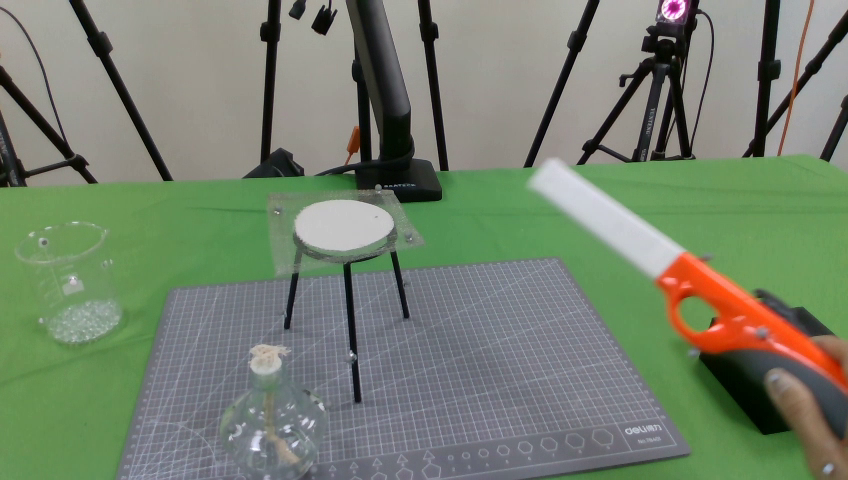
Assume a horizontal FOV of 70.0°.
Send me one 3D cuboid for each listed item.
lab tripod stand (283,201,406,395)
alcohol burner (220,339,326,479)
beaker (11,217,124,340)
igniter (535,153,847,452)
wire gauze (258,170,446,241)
[{"bbox_3d":[-0.070,0.044,0.554,0.148,0.132,0.147,3,33,-2],"label":"lab tripod stand"},{"bbox_3d":[-0.112,0.120,0.448,0.078,0.120,0.077,3,31,-2],"label":"alcohol burner"},{"bbox_3d":[-0.335,0.038,0.584,0.073,0.101,0.084,25,38,31],"label":"beaker"},{"bbox_3d":[0.176,0.025,0.412,0.273,0.057,0.025,48,9,36],"label":"igniter"},{"bbox_3d":[-0.063,-0.030,0.514,0.125,0.011,0.120,-13,30,-35],"label":"wire gauze"}]
